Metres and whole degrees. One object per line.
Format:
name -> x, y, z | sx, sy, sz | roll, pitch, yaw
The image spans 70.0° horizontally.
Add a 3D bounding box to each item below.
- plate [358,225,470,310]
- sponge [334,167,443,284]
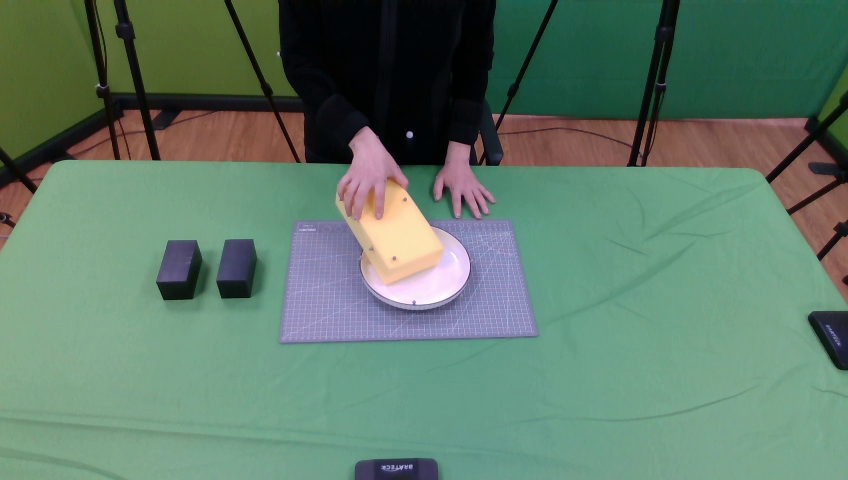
plate -> -0.019, 0.052, 1.132 | 0.209, 0.038, 0.208 | 2, 46, -2
sponge -> -0.071, -0.030, 1.142 | 0.118, 0.061, 0.206 | -23, 65, -25
